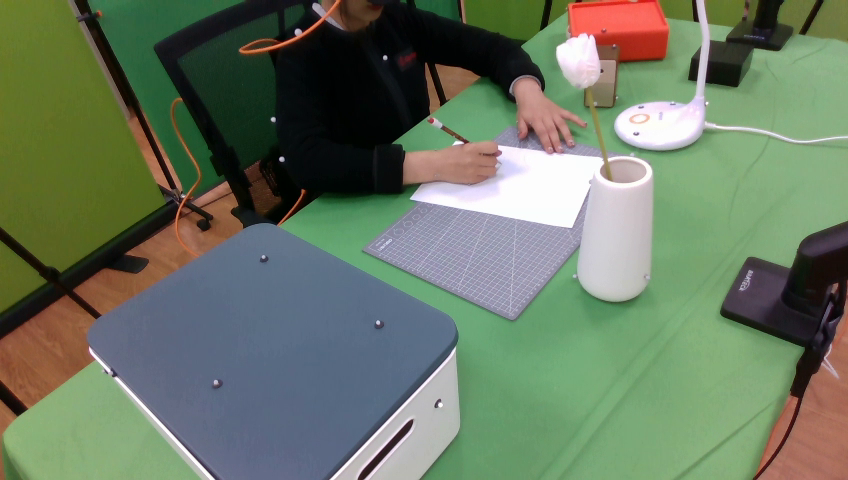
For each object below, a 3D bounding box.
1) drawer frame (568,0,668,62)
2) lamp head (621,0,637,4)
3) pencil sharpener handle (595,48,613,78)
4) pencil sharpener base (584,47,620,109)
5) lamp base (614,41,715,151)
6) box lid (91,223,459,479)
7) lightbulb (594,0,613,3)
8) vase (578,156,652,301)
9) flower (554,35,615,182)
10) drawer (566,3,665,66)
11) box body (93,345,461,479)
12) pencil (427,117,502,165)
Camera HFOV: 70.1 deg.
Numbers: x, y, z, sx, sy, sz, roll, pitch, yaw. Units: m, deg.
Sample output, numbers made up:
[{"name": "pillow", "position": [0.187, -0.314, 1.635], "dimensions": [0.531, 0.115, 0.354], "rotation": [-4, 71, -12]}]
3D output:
[{"name": "drawer frame", "position": [0.450, -0.495, 1.441], "dimensions": [0.213, 0.083, 0.201], "rotation": [-1, 40, 9]}, {"name": "lamp head", "position": [0.319, -0.453, 0.962], "dimensions": [0.113, 0.123, 0.112], "rotation": [20, 33, -13]}, {"name": "pencil sharpener handle", "position": [0.382, -0.378, 1.276], "dimensions": [0.036, 0.068, 0.030], "rotation": [3, 41, 21]}, {"name": "pencil sharpener base", "position": [0.367, -0.336, 1.248], "dimensions": [0.061, 0.107, 0.076], "rotation": [6, 42, 19]}, {"name": "lamp base", "position": [0.449, -0.277, 1.106], "dimensions": [0.179, 0.181, 0.160], "rotation": [1, 41, 9]}, {"name": "box lid", "position": [-0.174, 0.103, 0.667], "dimensions": [0.368, 0.015, 0.264], "rotation": [24, 48, 35]}, {"name": "lightbulb", "position": [0.305, -0.437, 0.978], "dimensions": [0.060, 0.107, 0.059], "rotation": [12, 43, -11]}, {"name": "vase", "position": [0.261, -0.011, 0.812], "dimensions": [0.098, 0.201, 0.097], "rotation": [-4, 40, 4]}, {"name": "flower", "position": [0.237, -0.083, 0.774], "dimensions": [0.044, 0.363, 0.038], "rotation": [-22, 26, 7]}, {"name": "drawer", "position": [0.447, -0.493, 1.440], "dimensions": [0.211, 0.073, 0.194], "rotation": [0, 40, 10]}, {"name": "box body", "position": [-0.162, 0.170, 0.708], "dimensions": [0.361, 0.161, 0.255], "rotation": [25, 50, 34]}, {"name": "pencil", "position": [0.076, -0.173, 1.079], "dimensions": [0.012, 0.196, 0.012], "rotation": [-25, 54, 40]}]
